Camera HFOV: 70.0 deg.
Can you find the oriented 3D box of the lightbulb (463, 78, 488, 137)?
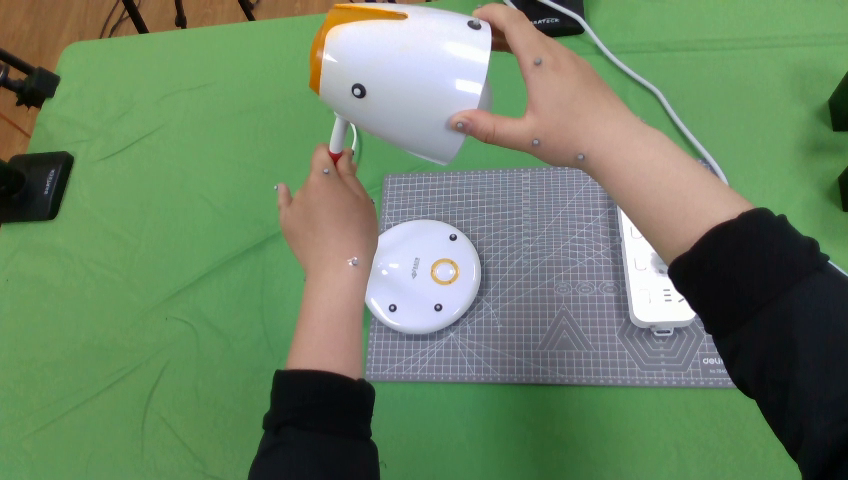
[{"bbox_3d":[-0.003,-0.114,0.453,0.108,0.059,0.059,21,70,-11],"label":"lightbulb"}]

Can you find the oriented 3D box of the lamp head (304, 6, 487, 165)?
[{"bbox_3d":[-0.028,-0.121,0.456,0.123,0.113,0.111,10,67,-9],"label":"lamp head"}]

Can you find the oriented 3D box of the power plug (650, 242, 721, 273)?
[{"bbox_3d":[0.305,0.024,0.716,0.072,0.053,0.035,8,70,11],"label":"power plug"}]

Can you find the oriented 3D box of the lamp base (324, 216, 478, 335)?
[{"bbox_3d":[-0.036,0.017,0.725,0.179,0.182,0.159,-7,65,12],"label":"lamp base"}]

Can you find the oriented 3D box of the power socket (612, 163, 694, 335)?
[{"bbox_3d":[0.280,0.003,0.750,0.072,0.033,0.225,-3,66,9],"label":"power socket"}]
